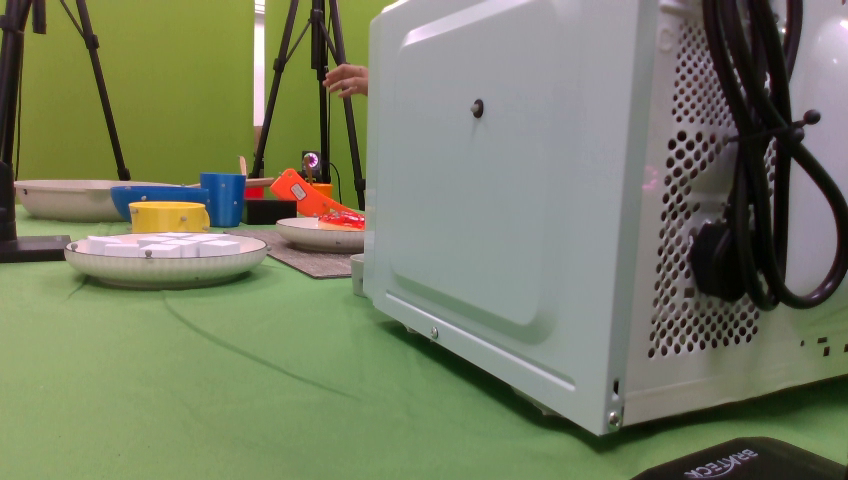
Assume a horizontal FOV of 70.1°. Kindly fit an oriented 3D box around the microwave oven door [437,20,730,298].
[{"bbox_3d":[0.181,-0.076,0.618,0.358,0.243,0.039,-2,8,-28],"label":"microwave oven door"}]

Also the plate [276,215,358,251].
[{"bbox_3d":[-0.126,-0.012,0.950,0.209,0.038,0.209,2,7,0],"label":"plate"}]

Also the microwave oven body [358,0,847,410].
[{"bbox_3d":[0.210,-0.051,0.471,0.444,0.260,0.324,-1,7,-28],"label":"microwave oven body"}]

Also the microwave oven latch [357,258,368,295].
[{"bbox_3d":[-0.019,0.031,0.529,0.079,0.029,0.030,-1,7,-26],"label":"microwave oven latch"}]

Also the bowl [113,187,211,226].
[{"bbox_3d":[-0.436,-0.046,1.013,0.151,0.077,0.151,2,7,0],"label":"bowl"}]

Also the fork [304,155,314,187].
[{"bbox_3d":[-0.268,-0.134,1.446,0.028,0.018,0.207,1,-36,-1],"label":"fork"}]

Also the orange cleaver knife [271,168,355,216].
[{"bbox_3d":[-0.236,-0.084,1.333,0.212,0.077,0.012,31,-10,-32],"label":"orange cleaver knife"}]

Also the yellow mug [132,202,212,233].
[{"bbox_3d":[-0.356,-0.020,0.878,0.099,0.064,0.131,5,7,21],"label":"yellow mug"}]

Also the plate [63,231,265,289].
[{"bbox_3d":[-0.288,0.021,0.687,0.208,0.039,0.207,2,8,0],"label":"plate"}]

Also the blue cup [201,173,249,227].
[{"bbox_3d":[-0.384,-0.077,1.164,0.093,0.100,0.092,2,6,0],"label":"blue cup"}]

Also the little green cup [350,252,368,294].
[{"bbox_3d":[-0.048,0.034,0.633,0.061,0.038,0.061,3,7,0],"label":"little green cup"}]

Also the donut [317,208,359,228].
[{"bbox_3d":[-0.118,-0.024,0.954,0.099,0.048,0.099,5,7,0],"label":"donut"}]

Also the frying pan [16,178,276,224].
[{"bbox_3d":[-0.553,-0.097,1.266,0.490,0.102,0.305,-10,13,-24],"label":"frying pan"}]

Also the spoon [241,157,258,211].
[{"bbox_3d":[-0.432,-0.140,1.472,0.042,0.021,0.193,-2,52,-19],"label":"spoon"}]
